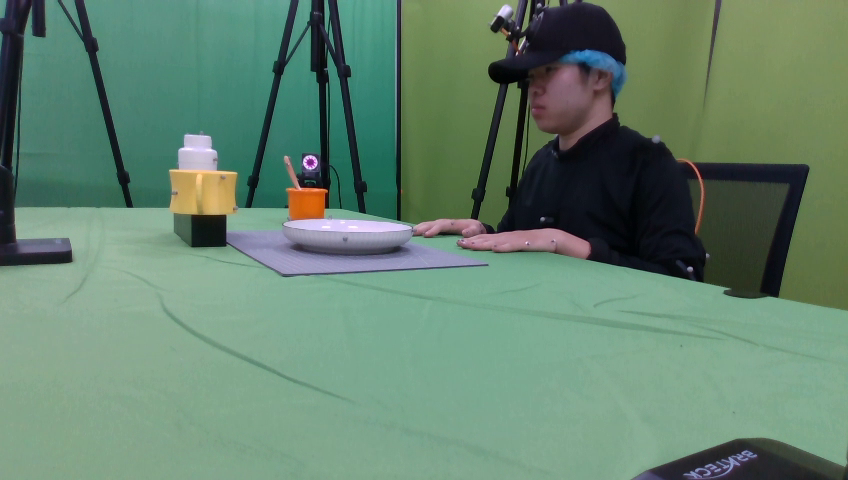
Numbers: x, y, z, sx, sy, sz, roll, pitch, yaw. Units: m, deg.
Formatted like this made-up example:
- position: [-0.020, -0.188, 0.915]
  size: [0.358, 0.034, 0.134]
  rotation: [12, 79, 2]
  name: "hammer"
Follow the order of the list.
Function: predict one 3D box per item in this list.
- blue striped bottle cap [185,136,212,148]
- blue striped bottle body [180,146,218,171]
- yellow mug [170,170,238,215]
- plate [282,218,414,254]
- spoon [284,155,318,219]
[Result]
- position: [-0.390, -0.169, 1.047]
  size: [0.044, 0.020, 0.044]
  rotation: [4, 10, 0]
  name: "blue striped bottle cap"
- position: [-0.392, -0.118, 1.053]
  size: [0.063, 0.120, 0.063]
  rotation: [3, 7, 0]
  name: "blue striped bottle body"
- position: [-0.342, -0.074, 0.939]
  size: [0.100, 0.064, 0.130]
  rotation: [0, 8, -16]
  name: "yellow mug"
- position: [-0.121, -0.007, 0.971]
  size: [0.208, 0.039, 0.207]
  rotation: [2, 7, 0]
  name: "plate"
- position: [-0.285, -0.121, 1.367]
  size: [0.042, 0.021, 0.193]
  rotation: [-5, 50, -37]
  name: "spoon"
